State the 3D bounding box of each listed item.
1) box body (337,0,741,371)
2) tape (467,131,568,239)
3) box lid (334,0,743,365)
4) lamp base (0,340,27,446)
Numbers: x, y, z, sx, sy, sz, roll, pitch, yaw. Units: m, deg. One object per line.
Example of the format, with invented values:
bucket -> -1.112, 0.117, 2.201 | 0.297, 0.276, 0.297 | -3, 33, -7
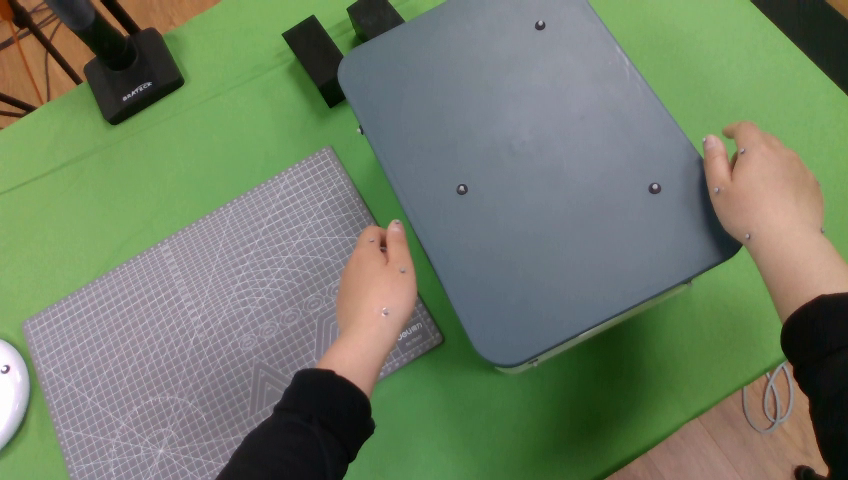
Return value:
box body -> 0.102, -0.070, 0.647 | 0.254, 0.161, 0.361 | -27, 70, -1
tape -> 0.107, -0.064, 0.697 | 0.117, 0.053, 0.116 | -2, 71, 7
box lid -> 0.091, -0.096, 0.579 | 0.263, 0.015, 0.368 | -27, 71, -1
lamp base -> -0.579, 0.169, 0.661 | 0.178, 0.181, 0.159 | 6, 72, 13
